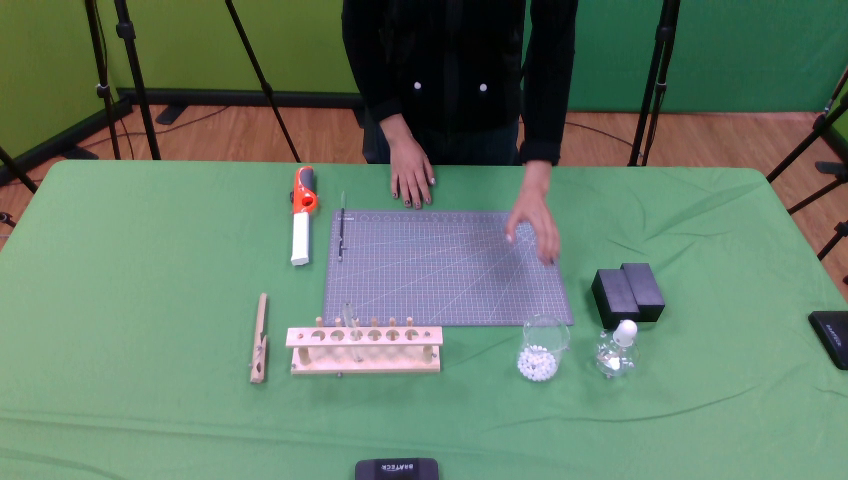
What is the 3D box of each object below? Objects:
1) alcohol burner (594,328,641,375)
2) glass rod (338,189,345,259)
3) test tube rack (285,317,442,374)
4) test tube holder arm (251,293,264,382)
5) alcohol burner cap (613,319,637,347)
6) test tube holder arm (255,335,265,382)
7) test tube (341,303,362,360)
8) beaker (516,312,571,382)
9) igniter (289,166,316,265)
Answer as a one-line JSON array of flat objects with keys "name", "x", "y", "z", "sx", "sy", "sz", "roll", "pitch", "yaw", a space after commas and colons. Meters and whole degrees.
[{"name": "alcohol burner", "x": 0.322, "y": 0.170, "z": 0.994, "sx": 0.078, "sy": 0.119, "sz": 0.077, "roll": 3, "pitch": 48, "yaw": -3}, {"name": "glass rod", "x": -0.166, "y": -0.037, "z": 1.227, "sx": 0.008, "sy": 0.008, "sz": 0.198, "roll": -1, "pitch": 47, "yaw": -4}, {"name": "test tube rack", "x": -0.095, "y": 0.166, "z": 0.988, "sx": 0.242, "sy": 0.085, "sz": 0.066, "roll": 0, "pitch": 46, "yaw": -4}, {"name": "test tube holder arm", "x": -0.281, "y": 0.160, "z": 1.025, "sx": 0.013, "sy": 0.015, "sz": 0.177, "roll": 23, "pitch": 36, "yaw": -32}, {"name": "alcohol burner cap", "x": 0.323, "y": 0.146, "z": 0.966, "sx": 0.034, "sy": 0.048, "sz": 0.033, "roll": -1, "pitch": 52, "yaw": 2}, {"name": "test tube holder arm", "x": -0.270, "y": 0.193, "z": 0.997, "sx": 0.010, "sy": 0.015, "sz": 0.087, "roll": 23, "pitch": 36, "yaw": -32}, {"name": "test tube", "x": -0.111, "y": 0.145, "z": 0.938, "sx": 0.017, "sy": 0.151, "sz": 0.017, "roll": -1, "pitch": 50, "yaw": 2}, {"name": "beaker", "x": 0.190, "y": 0.180, "z": 0.985, "sx": 0.073, "sy": 0.101, "sz": 0.084, "roll": 30, "pitch": 52, "yaw": 24}, {"name": "igniter", "x": -0.248, "y": -0.058, "z": 1.233, "sx": 0.057, "sy": 0.025, "sz": 0.274, "roll": -9, "pitch": 47, "yaw": 1}]
